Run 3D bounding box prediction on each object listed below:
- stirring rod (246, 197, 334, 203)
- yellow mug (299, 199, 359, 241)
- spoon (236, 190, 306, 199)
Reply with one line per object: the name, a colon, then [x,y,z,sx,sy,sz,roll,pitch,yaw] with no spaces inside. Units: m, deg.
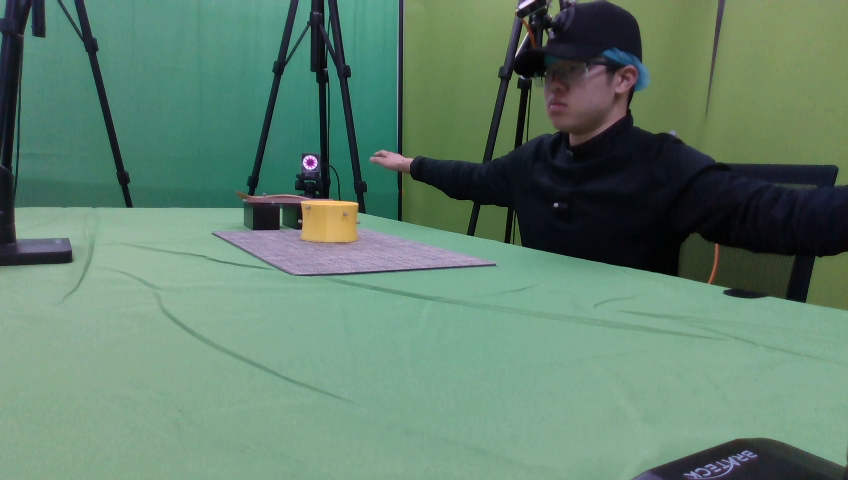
stirring rod: [-0.263,-0.079,1.200,0.177,0.006,0.014,-2,46,-29]
yellow mug: [-0.157,-0.036,1.060,0.099,0.064,0.131,6,7,27]
spoon: [-0.290,-0.088,1.248,0.195,0.021,0.041,0,6,-32]
